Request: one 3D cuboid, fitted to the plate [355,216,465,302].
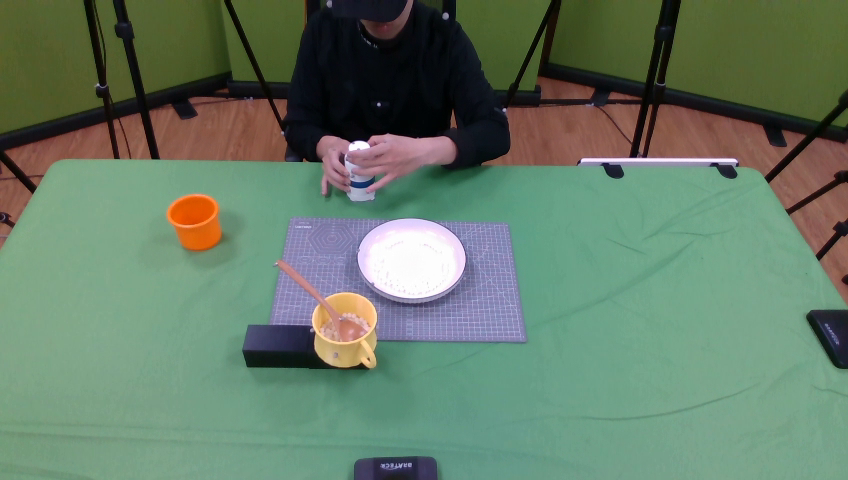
[{"bbox_3d":[-0.027,0.039,1.144,0.208,0.039,0.206,2,46,-2],"label":"plate"}]

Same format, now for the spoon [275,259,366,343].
[{"bbox_3d":[-0.161,0.098,0.946,0.194,0.021,0.041,48,56,-5],"label":"spoon"}]

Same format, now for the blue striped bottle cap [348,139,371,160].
[{"bbox_3d":[-0.131,-0.182,1.220,0.044,0.021,0.044,-4,50,5],"label":"blue striped bottle cap"}]

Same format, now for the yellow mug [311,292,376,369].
[{"bbox_3d":[-0.115,0.150,0.945,0.100,0.064,0.130,-30,57,-28],"label":"yellow mug"}]

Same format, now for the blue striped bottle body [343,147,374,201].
[{"bbox_3d":[-0.136,-0.145,1.257,0.063,0.121,0.062,3,47,-2],"label":"blue striped bottle body"}]
